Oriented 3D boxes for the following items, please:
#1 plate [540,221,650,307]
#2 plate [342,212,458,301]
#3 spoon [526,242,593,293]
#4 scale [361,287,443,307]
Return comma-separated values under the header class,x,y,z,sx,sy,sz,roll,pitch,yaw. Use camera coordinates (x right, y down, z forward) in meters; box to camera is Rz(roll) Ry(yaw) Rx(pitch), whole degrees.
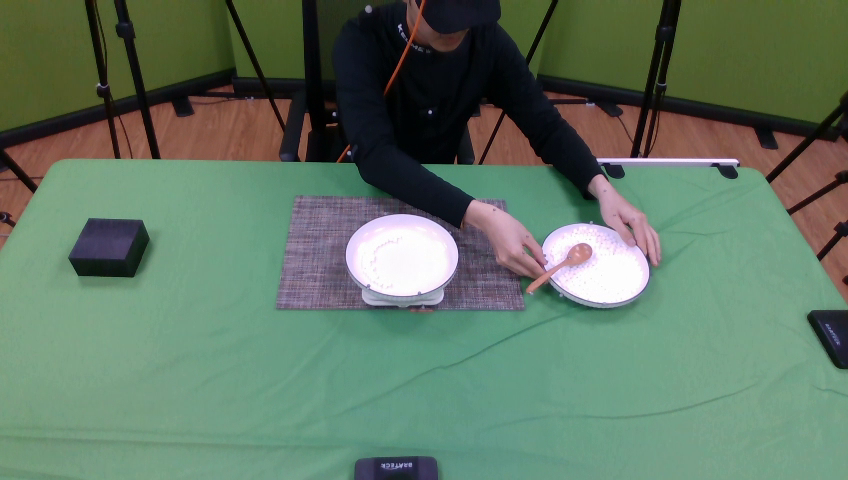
class,x,y,z,sx,sy,sz,roll,pitch,yaw
plate,0.325,0.048,1.164,0.209,0.038,0.208,2,46,-2
plate,-0.043,0.033,1.104,0.208,0.039,0.206,2,46,-2
spoon,0.252,0.050,1.134,0.194,0.022,0.041,-27,54,-36
scale,-0.042,0.040,1.143,0.149,0.032,0.199,0,46,-4
